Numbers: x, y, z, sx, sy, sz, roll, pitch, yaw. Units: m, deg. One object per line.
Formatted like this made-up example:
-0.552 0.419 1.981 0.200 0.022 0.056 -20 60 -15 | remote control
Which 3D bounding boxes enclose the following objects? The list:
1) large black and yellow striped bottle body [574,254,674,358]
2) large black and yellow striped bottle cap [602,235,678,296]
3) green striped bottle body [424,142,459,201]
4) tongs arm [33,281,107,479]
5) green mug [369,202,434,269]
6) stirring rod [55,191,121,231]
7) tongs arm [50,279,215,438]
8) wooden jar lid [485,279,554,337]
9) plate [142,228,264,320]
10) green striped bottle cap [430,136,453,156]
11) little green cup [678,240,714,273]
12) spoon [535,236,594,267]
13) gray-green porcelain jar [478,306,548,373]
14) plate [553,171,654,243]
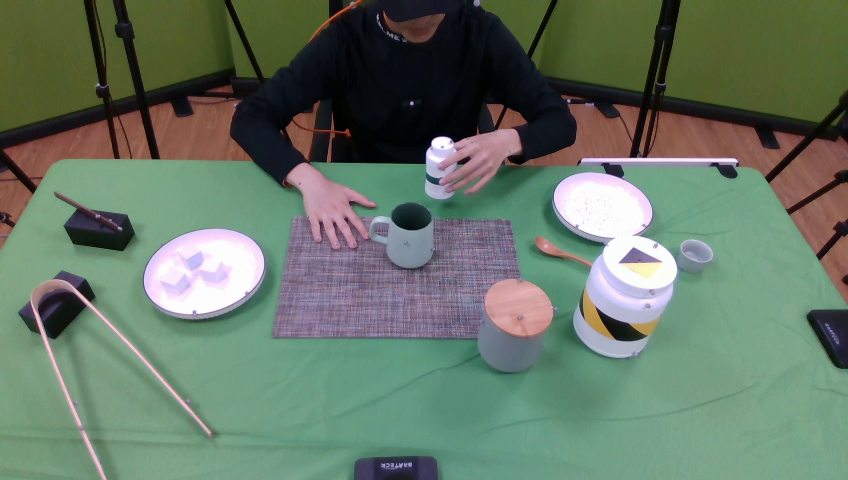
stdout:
0.335 0.096 1.014 0.131 0.185 0.130 2 46 -2 | large black and yellow striped bottle body
0.340 0.037 0.956 0.115 0.019 0.114 2 47 -1 | large black and yellow striped bottle cap
0.036 -0.143 1.214 0.063 0.120 0.063 4 42 -4 | green striped bottle body
-0.517 0.214 0.910 0.051 0.026 0.383 -28 63 -27 | tongs arm
-0.042 -0.010 1.140 0.125 0.105 0.092 7 47 3 | green mug
-0.632 -0.055 1.138 0.175 0.014 0.006 24 50 19 | stirring rod
-0.459 0.178 0.949 0.386 0.028 0.028 37 60 17 | tongs arm
0.147 0.108 0.940 0.108 0.021 0.107 4 47 -4 | wooden jar lid
-0.394 0.064 1.095 0.208 0.039 0.206 2 46 -2 | plate
0.034 -0.182 1.177 0.044 0.020 0.044 1 43 -1 | green striped bottle cap
0.531 0.033 1.190 0.061 0.039 0.061 1 46 -1 | little green cup
0.303 0.040 1.178 0.193 0.022 0.041 25 32 19 | spoon
0.144 0.148 0.989 0.106 0.127 0.105 2 50 -2 | gray-green porcelain jar
0.373 -0.066 1.275 0.209 0.038 0.208 2 46 -2 | plate
